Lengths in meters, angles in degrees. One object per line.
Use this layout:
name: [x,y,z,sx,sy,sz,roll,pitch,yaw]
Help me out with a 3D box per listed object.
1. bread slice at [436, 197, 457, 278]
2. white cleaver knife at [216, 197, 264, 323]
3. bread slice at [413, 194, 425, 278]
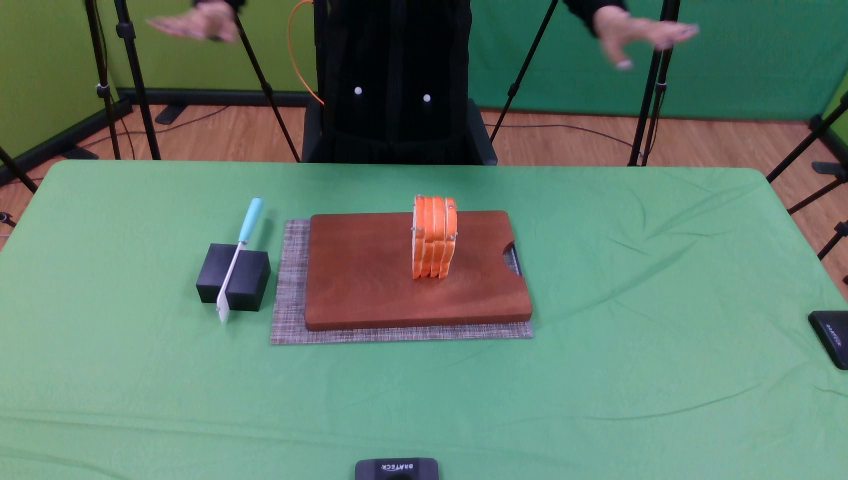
bread slice: [0.040,-0.010,1.097,0.019,0.132,0.104,4,48,-7]
white cleaver knife: [-0.341,0.027,1.118,0.021,0.066,0.284,9,45,-3]
bread slice: [-0.009,-0.015,1.095,0.018,0.135,0.106,-1,43,-3]
